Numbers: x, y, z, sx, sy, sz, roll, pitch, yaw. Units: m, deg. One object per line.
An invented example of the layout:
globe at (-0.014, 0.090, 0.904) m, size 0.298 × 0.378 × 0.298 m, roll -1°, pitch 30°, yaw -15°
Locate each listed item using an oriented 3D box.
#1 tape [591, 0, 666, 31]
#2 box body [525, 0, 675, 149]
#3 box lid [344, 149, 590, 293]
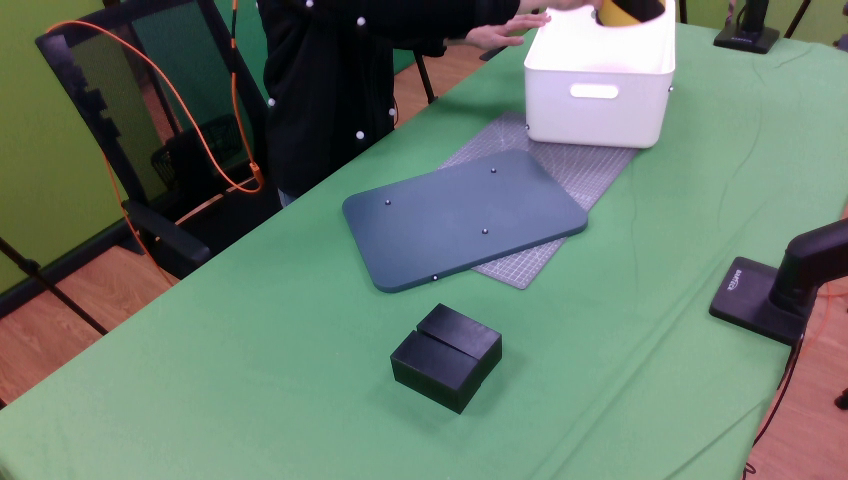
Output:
tape at (0.326, -0.379, 0.963) m, size 0.117 × 0.053 × 0.116 m, roll -11°, pitch 36°, yaw 8°
box body at (0.356, -0.342, 1.212) m, size 0.253 × 0.161 × 0.363 m, roll 7°, pitch 42°, yaw 17°
box lid at (0.062, -0.046, 1.027) m, size 0.373 × 0.015 × 0.261 m, roll -18°, pitch 41°, yaw -11°
